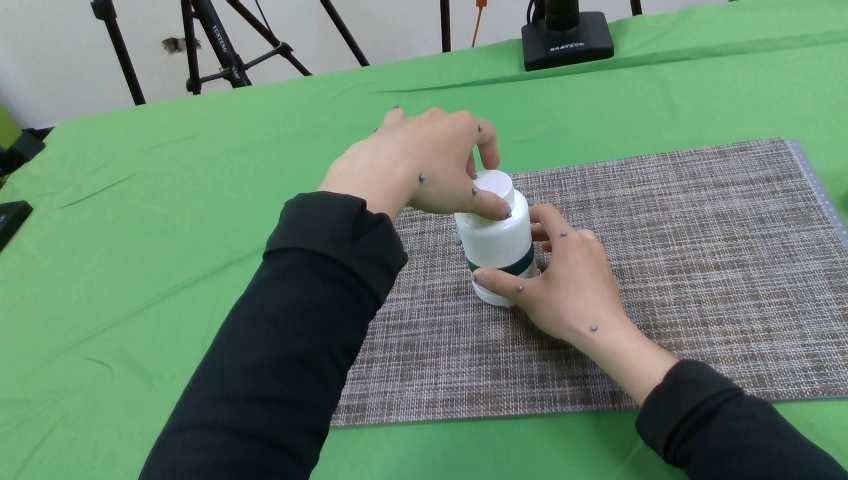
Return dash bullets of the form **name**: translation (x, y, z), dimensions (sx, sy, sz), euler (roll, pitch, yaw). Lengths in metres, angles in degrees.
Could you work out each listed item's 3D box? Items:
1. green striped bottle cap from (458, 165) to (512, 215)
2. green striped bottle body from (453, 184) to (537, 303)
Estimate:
- **green striped bottle cap**: translation (0.051, -0.040, 0.499), dimensions (0.044, 0.020, 0.044), euler (-5, 50, 6)
- **green striped bottle body**: translation (0.063, -0.004, 0.534), dimensions (0.063, 0.120, 0.062), euler (-9, 44, 9)
